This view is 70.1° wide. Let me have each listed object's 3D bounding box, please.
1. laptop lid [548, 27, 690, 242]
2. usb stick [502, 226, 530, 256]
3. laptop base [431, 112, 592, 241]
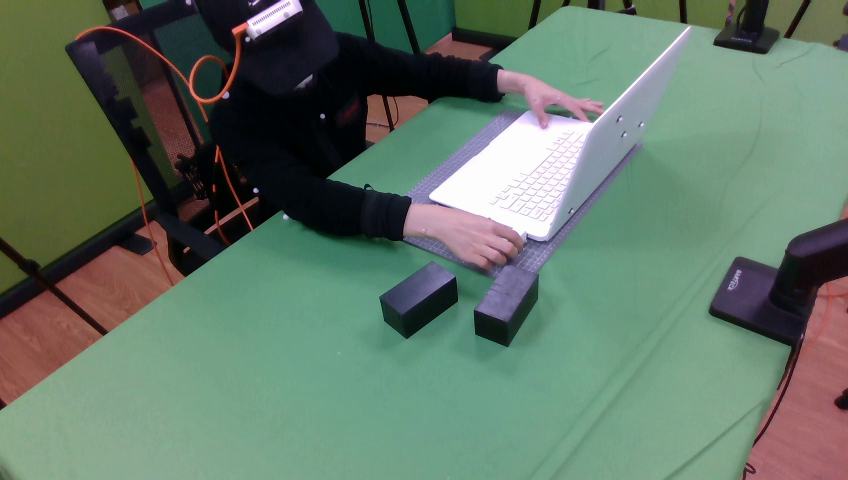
[{"bbox_3d":[0.309,-0.168,0.950,0.013,0.242,0.358,33,52,20],"label":"laptop lid"},{"bbox_3d":[0.145,-0.002,0.937,0.021,0.027,0.059,25,43,32],"label":"usb stick"},{"bbox_3d":[0.207,-0.129,1.101,0.233,0.023,0.355,20,47,33],"label":"laptop base"}]
